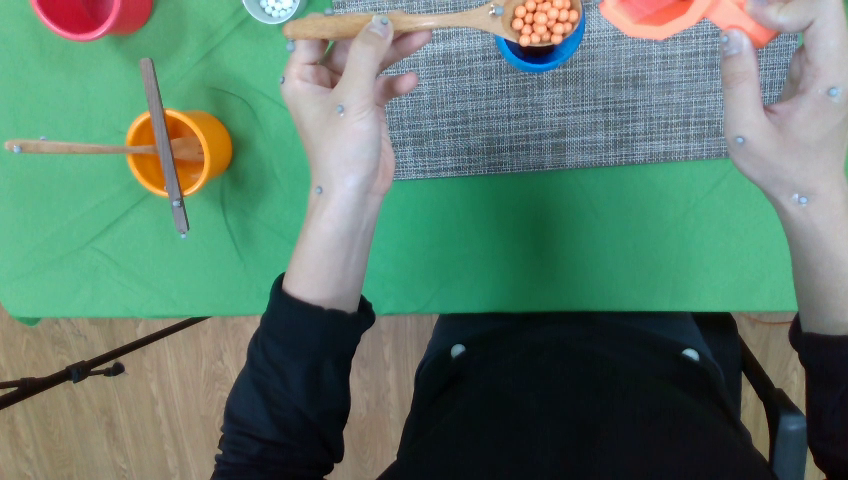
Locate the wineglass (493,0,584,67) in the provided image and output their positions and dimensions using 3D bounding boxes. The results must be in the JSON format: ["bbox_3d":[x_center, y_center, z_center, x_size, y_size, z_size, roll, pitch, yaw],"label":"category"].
[{"bbox_3d":[0.095,-0.187,0.523,0.073,0.171,0.074,2,108,7],"label":"wineglass"}]

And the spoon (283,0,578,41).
[{"bbox_3d":[0.007,-0.145,0.392,0.194,0.021,0.042,-9,121,-13],"label":"spoon"}]

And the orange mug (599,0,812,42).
[{"bbox_3d":[0.179,-0.175,0.381,0.125,0.101,0.084,49,146,18],"label":"orange mug"}]

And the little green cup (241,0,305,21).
[{"bbox_3d":[-0.149,-0.251,0.607,0.061,0.038,0.062,2,109,7],"label":"little green cup"}]

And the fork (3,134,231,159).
[{"bbox_3d":[-0.303,-0.096,0.618,0.208,0.018,0.028,-6,121,-37],"label":"fork"}]

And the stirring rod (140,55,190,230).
[{"bbox_3d":[-0.261,-0.095,0.611,0.014,0.006,0.177,-3,107,9],"label":"stirring rod"}]
